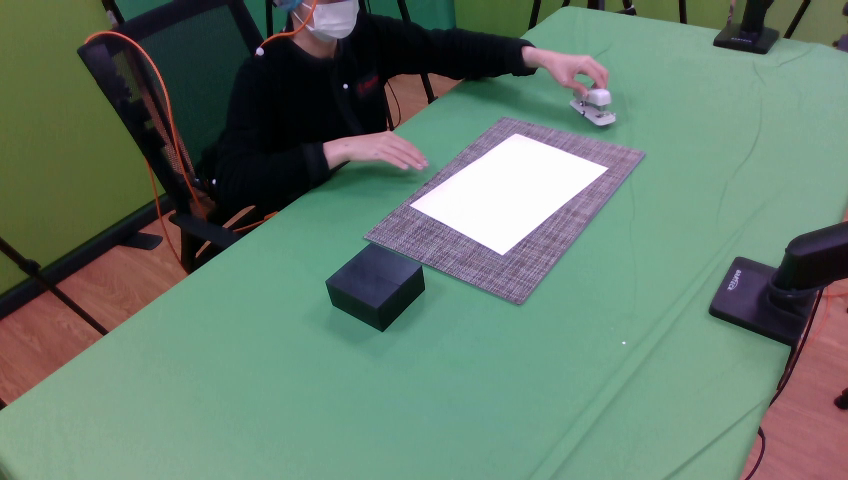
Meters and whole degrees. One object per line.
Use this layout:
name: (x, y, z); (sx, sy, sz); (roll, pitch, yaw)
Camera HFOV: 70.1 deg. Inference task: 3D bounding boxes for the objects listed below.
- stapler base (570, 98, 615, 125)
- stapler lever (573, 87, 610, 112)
stapler base: (0.340, -0.268, 1.221); (0.041, 0.024, 0.129); (-16, 33, -6)
stapler lever: (0.334, -0.289, 1.208); (0.027, 0.040, 0.117); (-16, 33, -6)
